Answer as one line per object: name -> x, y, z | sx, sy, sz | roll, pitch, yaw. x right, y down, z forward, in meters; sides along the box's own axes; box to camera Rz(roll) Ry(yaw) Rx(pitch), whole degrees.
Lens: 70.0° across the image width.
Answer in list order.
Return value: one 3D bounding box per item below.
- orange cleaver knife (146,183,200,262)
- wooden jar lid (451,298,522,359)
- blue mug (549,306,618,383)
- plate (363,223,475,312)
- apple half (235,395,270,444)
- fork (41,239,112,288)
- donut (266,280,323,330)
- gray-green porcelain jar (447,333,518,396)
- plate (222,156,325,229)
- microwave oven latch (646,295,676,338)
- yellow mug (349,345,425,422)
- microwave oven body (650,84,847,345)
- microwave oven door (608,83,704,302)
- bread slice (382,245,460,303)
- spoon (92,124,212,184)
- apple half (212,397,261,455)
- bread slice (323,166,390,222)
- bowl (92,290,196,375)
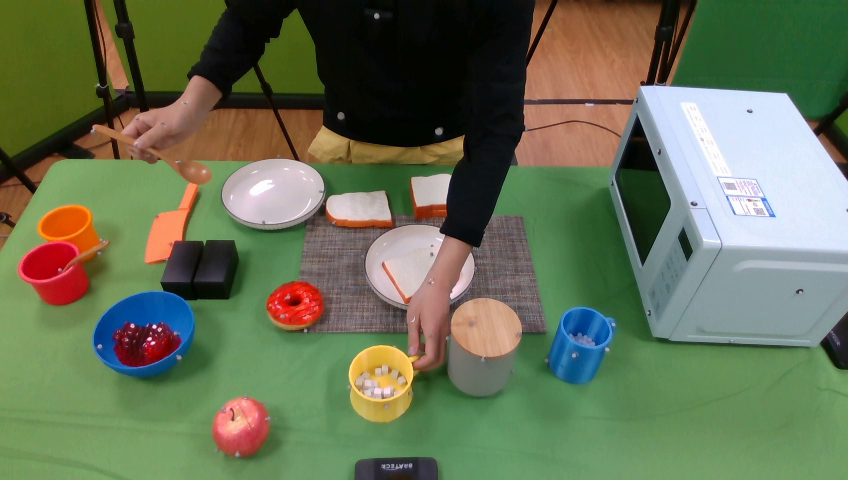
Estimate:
orange cleaver knife -> -0.494, -0.039, 1.199 | 0.077, 0.012, 0.210 | -3, 48, 2
wooden jar lid -> 0.093, 0.135, 0.914 | 0.108, 0.021, 0.107 | 2, 49, -3
blue mug -> 0.269, 0.167, 0.997 | 0.116, 0.106, 0.082 | -19, 50, -21
plate -> -0.009, 0.054, 1.126 | 0.208, 0.039, 0.206 | 2, 46, -2
apple half -> -0.245, 0.259, 0.893 | 0.033, 0.082, 0.081 | -29, 55, -21
fork -> -0.591, 0.040, 1.028 | 0.207, 0.019, 0.028 | -27, 37, 29
donut -> -0.223, 0.112, 1.051 | 0.099, 0.048, 0.098 | 2, 46, -2
gray-green porcelain jar -> 0.091, 0.178, 0.960 | 0.106, 0.127, 0.105 | 2, 47, -2
plate -> -0.307, -0.094, 1.251 | 0.209, 0.038, 0.208 | 2, 46, -2
microwave oven latch -> 0.413, 0.133, 1.061 | 0.030, 0.029, 0.078 | 4, 46, 1
yellow mug -> -0.054, 0.217, 0.954 | 0.131, 0.064, 0.099 | -24, 52, -25
microwave oven body -> 0.569, -0.054, 1.116 | 0.326, 0.261, 0.439 | 2, 46, -1
microwave oven door -> 0.425, -0.096, 1.138 | 0.039, 0.245, 0.353 | 2, 47, -1
bread slice -> 0.000, 0.054, 1.129 | 0.131, 0.019, 0.104 | -20, 52, -20
spoon -> -0.447, -0.146, 1.006 | 0.195, 0.021, 0.041 | 28, 63, -31
apple half -> -0.276, 0.276, 0.877 | 0.053, 0.075, 0.080 | -29, 58, -21
bread slice -> -0.140, -0.092, 1.224 | 0.134, 0.018, 0.106 | -19, 51, 6
bowl -> -0.436, 0.161, 0.971 | 0.151, 0.077, 0.150 | 2, 46, -2
